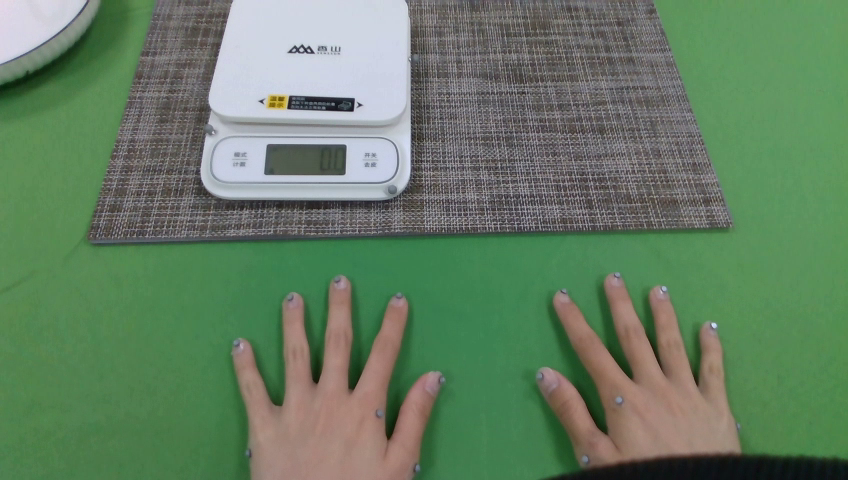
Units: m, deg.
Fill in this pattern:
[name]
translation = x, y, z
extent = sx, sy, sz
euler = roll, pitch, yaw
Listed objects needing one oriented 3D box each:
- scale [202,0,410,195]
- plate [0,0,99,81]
[scale]
translation = -0.085, -0.122, 0.468
extent = 0.149, 0.032, 0.199
euler = 0, 59, -1
[plate]
translation = -0.373, -0.196, 0.504
extent = 0.208, 0.039, 0.205
euler = 1, 59, -1
